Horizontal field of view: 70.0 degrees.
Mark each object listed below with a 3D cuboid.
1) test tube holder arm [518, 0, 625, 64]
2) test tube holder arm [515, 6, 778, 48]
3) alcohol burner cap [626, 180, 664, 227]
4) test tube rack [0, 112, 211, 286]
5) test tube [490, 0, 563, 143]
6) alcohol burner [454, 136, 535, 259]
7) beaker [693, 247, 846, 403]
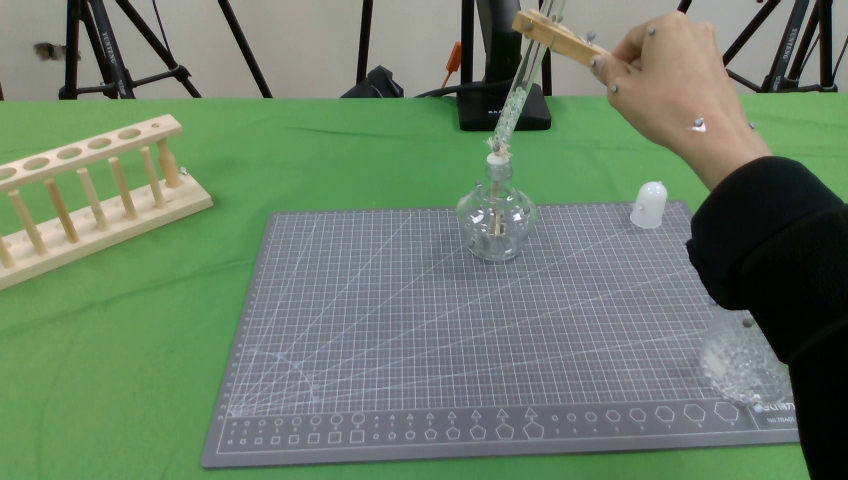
[{"bbox_3d":[0.112,-0.155,0.454,0.088,0.010,0.015,25,44,2],"label":"test tube holder arm"},{"bbox_3d":[0.154,-0.153,0.439,0.177,0.013,0.015,0,36,23],"label":"test tube holder arm"},{"bbox_3d":[0.229,-0.040,0.625,0.034,0.048,0.033,0,39,0],"label":"alcohol burner cap"},{"bbox_3d":[-0.345,-0.040,0.593,0.242,0.086,0.066,-27,47,-29],"label":"test tube rack"},{"bbox_3d":[0.081,-0.140,0.476,0.017,0.151,0.017,11,42,-9],"label":"test tube"},{"bbox_3d":[0.067,-0.042,0.570,0.078,0.120,0.077,-1,38,1],"label":"alcohol burner"},{"bbox_3d":[0.247,0.065,0.451,0.074,0.101,0.083,-21,43,-23],"label":"beaker"}]
